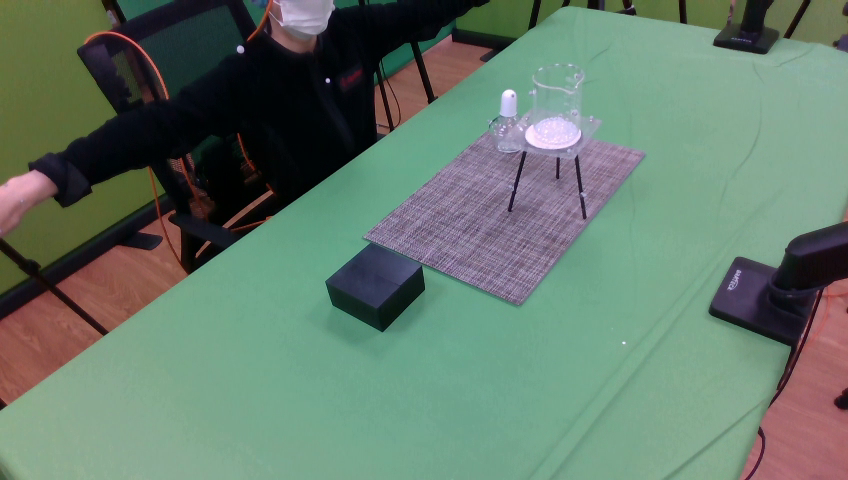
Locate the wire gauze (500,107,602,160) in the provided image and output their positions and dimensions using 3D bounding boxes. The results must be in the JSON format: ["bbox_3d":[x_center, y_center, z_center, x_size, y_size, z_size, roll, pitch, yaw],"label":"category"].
[{"bbox_3d":[0.199,-0.166,0.945,0.120,0.011,0.125,17,50,28],"label":"wire gauze"}]

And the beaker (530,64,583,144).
[{"bbox_3d":[0.201,-0.201,0.909,0.074,0.101,0.083,-19,43,-10],"label":"beaker"}]

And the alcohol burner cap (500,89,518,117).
[{"bbox_3d":[0.158,-0.254,1.114,0.034,0.048,0.033,-1,38,1],"label":"alcohol burner cap"}]

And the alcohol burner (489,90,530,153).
[{"bbox_3d":[0.160,-0.226,1.136,0.078,0.119,0.077,-6,41,5],"label":"alcohol burner"}]

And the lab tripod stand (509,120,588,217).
[{"bbox_3d":[0.207,-0.114,0.983,0.148,0.132,0.147,-5,42,5],"label":"lab tripod stand"}]
